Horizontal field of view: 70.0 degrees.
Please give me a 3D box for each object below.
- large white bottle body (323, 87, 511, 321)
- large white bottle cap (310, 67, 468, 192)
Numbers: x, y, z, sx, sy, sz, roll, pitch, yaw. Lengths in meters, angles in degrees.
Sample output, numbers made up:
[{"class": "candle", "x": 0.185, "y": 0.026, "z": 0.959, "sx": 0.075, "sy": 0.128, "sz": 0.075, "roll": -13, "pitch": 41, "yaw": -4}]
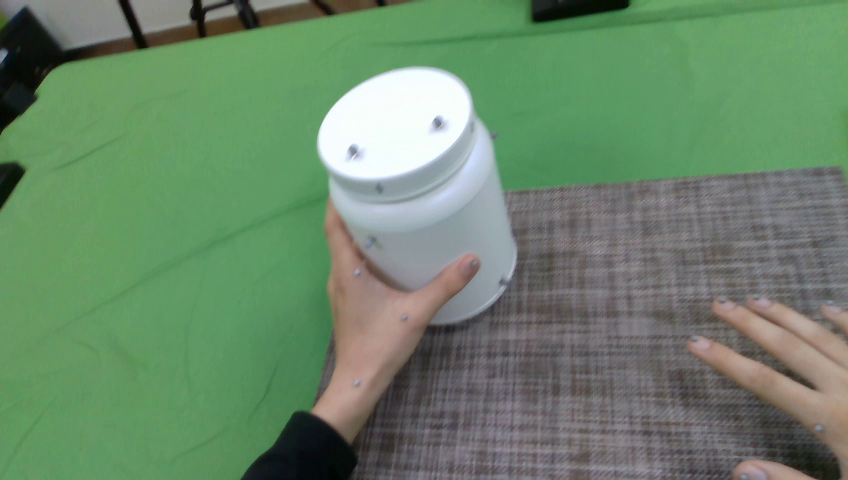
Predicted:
[{"class": "large white bottle body", "x": -0.004, "y": -0.032, "z": 0.499, "sx": 0.130, "sy": 0.186, "sz": 0.129, "roll": -9, "pitch": 51, "yaw": 11}, {"class": "large white bottle cap", "x": -0.026, "y": -0.082, "z": 0.434, "sx": 0.114, "sy": 0.018, "sz": 0.113, "roll": -9, "pitch": 51, "yaw": 11}]
